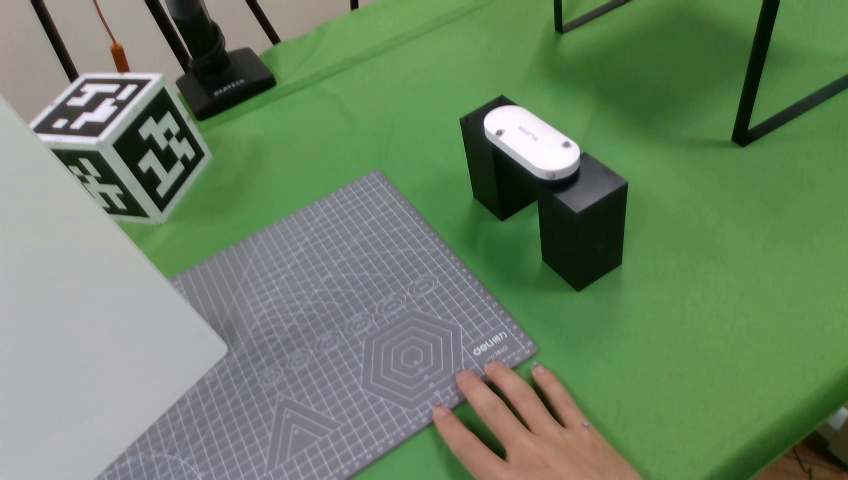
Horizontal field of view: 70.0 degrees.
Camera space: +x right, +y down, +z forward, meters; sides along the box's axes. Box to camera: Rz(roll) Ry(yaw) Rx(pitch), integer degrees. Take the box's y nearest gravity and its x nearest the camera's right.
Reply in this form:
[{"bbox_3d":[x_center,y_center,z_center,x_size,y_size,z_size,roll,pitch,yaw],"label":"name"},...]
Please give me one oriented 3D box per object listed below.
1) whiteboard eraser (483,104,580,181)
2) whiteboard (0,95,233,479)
[{"bbox_3d":[0.087,-0.084,0.504,0.041,0.019,0.100,-30,50,-15],"label":"whiteboard eraser"},{"bbox_3d":[-0.350,0.047,0.479,0.142,0.308,0.217,13,52,49],"label":"whiteboard"}]
